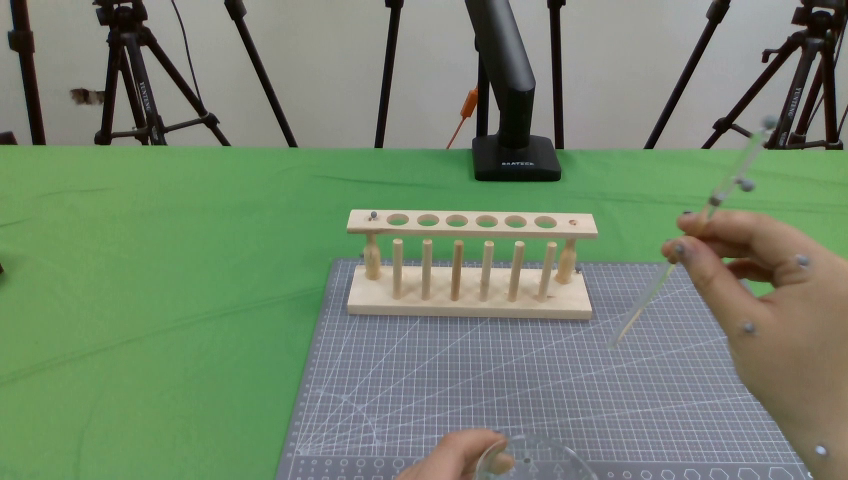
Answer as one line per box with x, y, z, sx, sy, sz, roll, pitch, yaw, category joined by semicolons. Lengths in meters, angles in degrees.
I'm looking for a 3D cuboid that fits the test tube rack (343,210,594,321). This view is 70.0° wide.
0.042;0.025;0.606;0.242;0.086;0.066;1;35;1;test tube rack

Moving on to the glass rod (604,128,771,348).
0.141;0.013;0.347;0.008;0.201;0.008;4;51;-5;glass rod

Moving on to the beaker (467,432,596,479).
0.057;0.181;0.372;0.084;0.101;0.073;-5;35;-15;beaker
